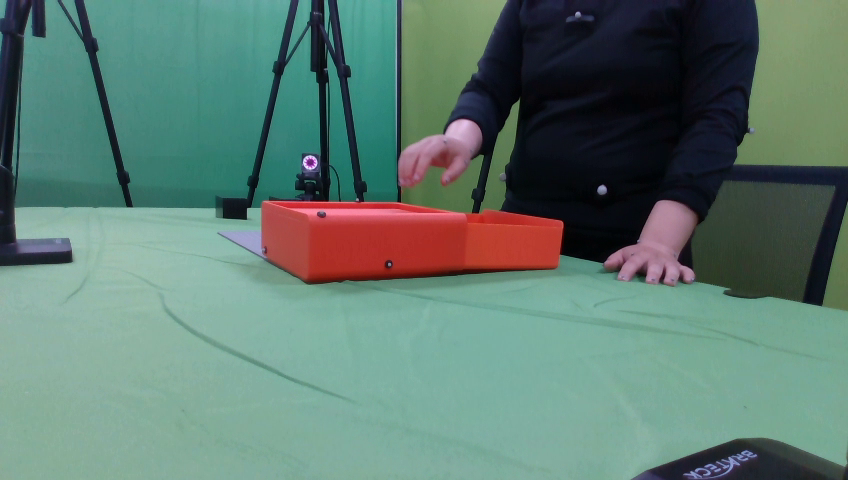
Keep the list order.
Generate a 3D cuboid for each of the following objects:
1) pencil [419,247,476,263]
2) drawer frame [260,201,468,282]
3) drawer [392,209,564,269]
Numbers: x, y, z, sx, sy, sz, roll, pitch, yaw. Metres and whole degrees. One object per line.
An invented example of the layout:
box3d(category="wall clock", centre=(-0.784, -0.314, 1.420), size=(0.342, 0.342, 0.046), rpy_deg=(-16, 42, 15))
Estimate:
box3d(category="pencil", centre=(0.040, 0.019, 0.877), size=(0.012, 0.012, 0.195), rpy_deg=(6, 6, 26))
box3d(category="drawer frame", centre=(-0.084, -0.006, 0.794), size=(0.215, 0.082, 0.200), rpy_deg=(-2, 9, -30))
box3d(category="drawer", centre=(0.058, -0.006, 0.880), size=(0.213, 0.073, 0.193), rpy_deg=(1, 8, -31))
